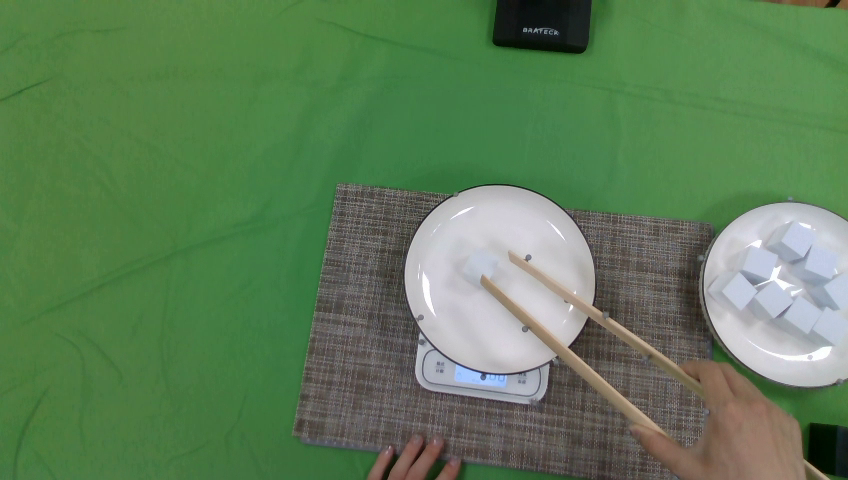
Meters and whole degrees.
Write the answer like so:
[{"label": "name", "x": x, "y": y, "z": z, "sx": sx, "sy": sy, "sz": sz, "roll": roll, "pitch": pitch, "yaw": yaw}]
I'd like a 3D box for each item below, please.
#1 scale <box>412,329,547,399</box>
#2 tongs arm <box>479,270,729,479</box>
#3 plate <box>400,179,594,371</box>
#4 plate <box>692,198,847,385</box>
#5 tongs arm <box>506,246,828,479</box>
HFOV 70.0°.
[{"label": "scale", "x": 0.071, "y": 0.072, "z": 0.688, "sx": 0.148, "sy": 0.032, "sz": 0.200, "roll": 7, "pitch": 78, "yaw": 4}, {"label": "tongs arm", "x": 0.193, "y": 0.145, "z": 0.537, "sx": 0.028, "sy": 0.028, "sz": 0.384, "roll": -40, "pitch": 63, "yaw": -21}, {"label": "plate", "x": 0.078, "y": 0.037, "z": 0.661, "sx": 0.209, "sy": 0.038, "sz": 0.208, "roll": 0, "pitch": 78, "yaw": 2}, {"label": "plate", "x": 0.403, "y": 0.057, "z": 0.679, "sx": 0.207, "sy": 0.039, "sz": 0.206, "roll": 0, "pitch": 78, "yaw": 2}, {"label": "tongs arm", "x": 0.212, "y": 0.128, "z": 0.544, "sx": 0.381, "sy": 0.027, "sz": 0.050, "roll": 36, "pitch": 69, "yaw": 24}]
